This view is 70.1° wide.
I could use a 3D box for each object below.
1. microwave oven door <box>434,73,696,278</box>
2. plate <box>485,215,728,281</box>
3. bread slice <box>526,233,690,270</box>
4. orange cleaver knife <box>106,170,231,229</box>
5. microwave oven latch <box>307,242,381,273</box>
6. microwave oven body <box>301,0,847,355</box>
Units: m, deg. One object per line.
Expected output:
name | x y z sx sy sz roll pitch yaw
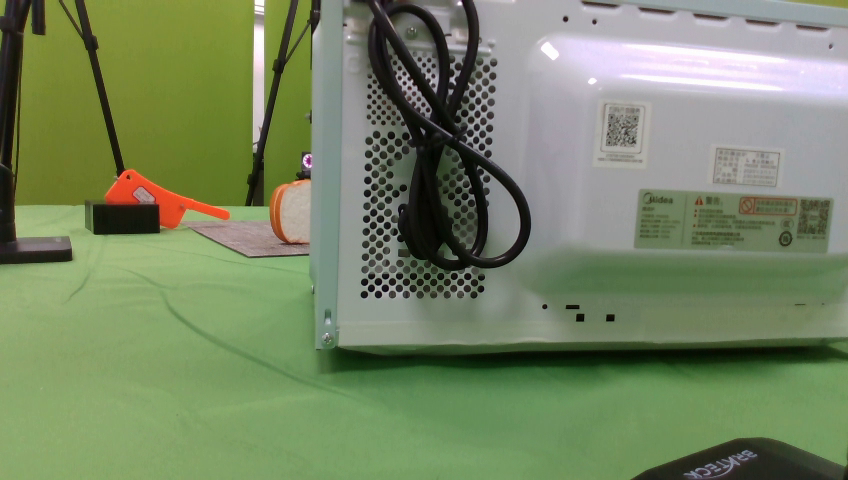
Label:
microwave oven door | 0.169 -0.093 0.819 0.354 0.243 0.039 8 8 37
plate | 0.159 0.005 0.545 0.208 0.039 0.207 -2 7 1
bread slice | 0.175 0.010 0.564 0.134 0.018 0.107 -4 7 27
orange cleaver knife | -0.458 -0.060 1.097 0.212 0.077 0.012 23 -4 -38
microwave oven latch | -0.086 0.019 0.656 0.079 0.029 0.030 2 7 -10
microwave oven body | 0.120 -0.053 0.535 0.443 0.260 0.325 2 7 -11
